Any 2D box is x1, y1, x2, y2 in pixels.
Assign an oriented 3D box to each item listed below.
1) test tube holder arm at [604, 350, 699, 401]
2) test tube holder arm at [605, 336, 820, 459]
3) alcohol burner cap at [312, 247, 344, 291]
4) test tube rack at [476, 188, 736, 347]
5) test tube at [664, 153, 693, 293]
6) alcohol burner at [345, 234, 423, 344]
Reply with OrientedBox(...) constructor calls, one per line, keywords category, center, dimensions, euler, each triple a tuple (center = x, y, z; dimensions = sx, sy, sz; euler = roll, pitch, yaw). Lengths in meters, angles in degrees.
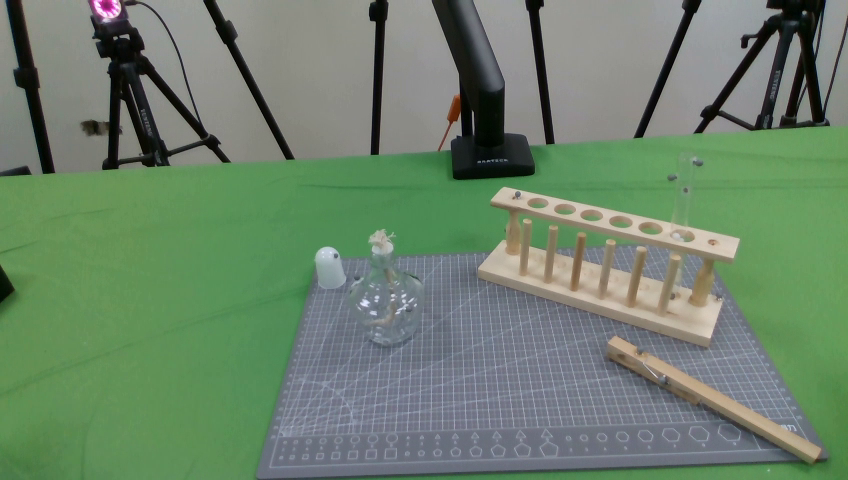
OrientedBox(category="test tube holder arm", center=(0.203, 0.118, 0.542), dimensions=(0.087, 0.010, 0.015), euler=(21, 47, 40))
OrientedBox(category="test tube holder arm", center=(0.235, 0.129, 0.512), dimensions=(0.177, 0.013, 0.015), euler=(26, 50, 36))
OrientedBox(category="alcohol burner cap", center=(-0.109, 0.030, 0.681), dimensions=(0.034, 0.048, 0.033), euler=(-2, 35, 2))
OrientedBox(category="test tube rack", center=(0.175, 0.021, 0.622), dimensions=(0.240, 0.086, 0.066), euler=(16, 40, 27))
OrientedBox(category="test tube", center=(0.239, -0.012, 0.574), dimensions=(0.017, 0.151, 0.017), euler=(-6, 31, 4))
OrientedBox(category="alcohol burner", center=(-0.040, 0.043, 0.589), dimensions=(0.078, 0.120, 0.077), euler=(-2, 36, 2))
